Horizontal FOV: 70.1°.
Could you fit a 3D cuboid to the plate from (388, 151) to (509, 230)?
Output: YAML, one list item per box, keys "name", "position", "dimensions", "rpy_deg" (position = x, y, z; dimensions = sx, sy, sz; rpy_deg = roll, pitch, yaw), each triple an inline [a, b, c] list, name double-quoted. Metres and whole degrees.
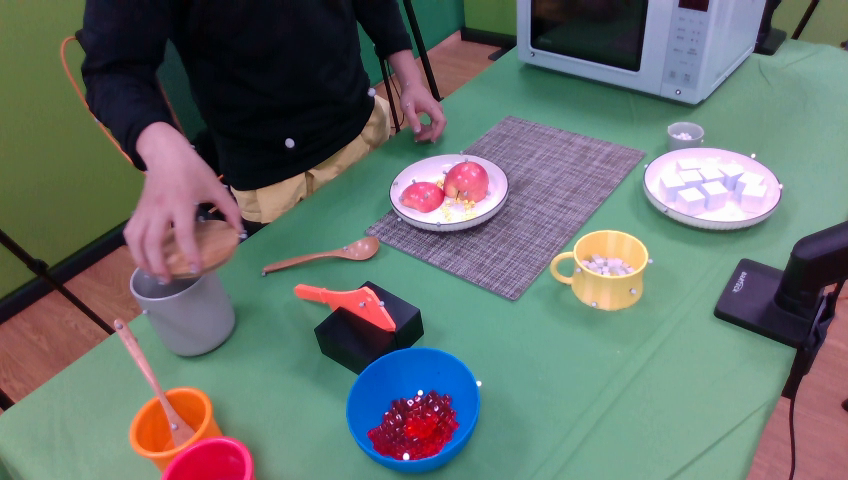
- name: "plate"
  position: [0.043, -0.082, 1.042]
  dimensions: [0.209, 0.038, 0.208]
  rpy_deg: [-4, 40, 4]

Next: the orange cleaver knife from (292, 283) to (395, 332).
- name: "orange cleaver knife"
  position: [-0.115, 0.092, 0.835]
  dimensions: [0.209, 0.077, 0.012]
  rpy_deg: [1, 32, 48]

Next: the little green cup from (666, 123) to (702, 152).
- name: "little green cup"
  position: [0.472, -0.183, 1.102]
  dimensions: [0.061, 0.039, 0.061]
  rpy_deg: [-5, 39, 4]

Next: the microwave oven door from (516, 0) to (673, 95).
- name: "microwave oven door"
  position: [0.344, -0.458, 1.256]
  dimensions: [0.353, 0.245, 0.039]
  rpy_deg: [26, 51, 33]

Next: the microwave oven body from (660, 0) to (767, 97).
- name: "microwave oven body"
  position: [0.473, -0.517, 1.314]
  dimensions: [0.438, 0.261, 0.327]
  rpy_deg: [26, 51, 34]

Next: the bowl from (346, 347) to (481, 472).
- name: "bowl"
  position: [-0.008, 0.205, 0.691]
  dimensions: [0.151, 0.077, 0.150]
  rpy_deg: [-4, 40, 4]

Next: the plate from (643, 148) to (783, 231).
- name: "plate"
  position: [0.464, -0.080, 0.986]
  dimensions: [0.207, 0.039, 0.206]
  rpy_deg: [-4, 41, 4]

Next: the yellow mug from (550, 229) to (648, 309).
- name: "yellow mug"
  position: [0.245, 0.040, 0.857]
  dimensions: [0.130, 0.064, 0.099]
  rpy_deg: [1, 42, 11]

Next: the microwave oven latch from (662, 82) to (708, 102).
- name: "microwave oven latch"
  position: [0.518, -0.298, 1.203]
  dimensions: [0.078, 0.029, 0.030]
  rpy_deg: [28, 53, 35]

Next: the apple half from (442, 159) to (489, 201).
- name: "apple half"
  position: [0.074, -0.110, 1.047]
  dimensions: [0.080, 0.053, 0.075]
  rpy_deg: [21, 45, 30]

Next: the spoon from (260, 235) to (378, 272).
- name: "spoon"
  position: [-0.168, 0.024, 0.966]
  dimensions: [0.194, 0.022, 0.041]
  rpy_deg: [-10, 57, -3]

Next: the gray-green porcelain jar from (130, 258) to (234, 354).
- name: "gray-green porcelain jar"
  position: [-0.328, 0.087, 0.836]
  dimensions: [0.106, 0.127, 0.105]
  rpy_deg: [-4, 41, 4]

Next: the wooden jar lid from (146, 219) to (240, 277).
- name: "wooden jar lid"
  position: [-0.276, 0.010, 0.729]
  dimensions: [0.108, 0.021, 0.108]
  rpy_deg: [-2, 33, 2]

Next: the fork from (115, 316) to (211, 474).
- name: "fork"
  position: [-0.308, 0.179, 0.708]
  dimensions: [0.028, 0.018, 0.207]
  rpy_deg: [-30, 89, -21]

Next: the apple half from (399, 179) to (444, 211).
- name: "apple half"
  position: [-0.004, -0.088, 1.045]
  dimensions: [0.081, 0.033, 0.081]
  rpy_deg: [-2, 43, 2]
